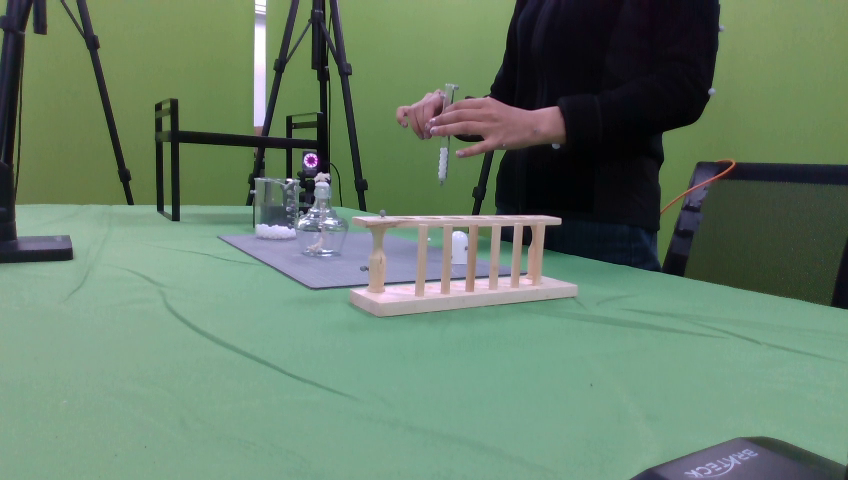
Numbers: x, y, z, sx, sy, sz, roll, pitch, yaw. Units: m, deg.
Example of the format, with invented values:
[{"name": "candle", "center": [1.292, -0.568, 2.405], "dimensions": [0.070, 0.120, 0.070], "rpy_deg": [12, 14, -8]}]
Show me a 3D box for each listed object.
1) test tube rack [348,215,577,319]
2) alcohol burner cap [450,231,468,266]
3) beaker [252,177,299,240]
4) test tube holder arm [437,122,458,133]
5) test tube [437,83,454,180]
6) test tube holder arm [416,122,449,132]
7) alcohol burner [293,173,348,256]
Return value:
[{"name": "test tube rack", "center": [0.048, 0.021, 0.619], "dimensions": [0.244, 0.085, 0.066], "rpy_deg": [-2, 9, -31]}, {"name": "alcohol burner cap", "center": [0.046, 0.011, 0.838], "dimensions": [0.034, 0.048, 0.034], "rpy_deg": [2, 6, 0]}, {"name": "beaker", "center": [-0.245, -0.052, 1.005], "dimensions": [0.074, 0.100, 0.083], "rpy_deg": [-3, 10, -32]}, {"name": "test tube holder arm", "center": [0.031, -0.180, 0.964], "dimensions": [0.010, 0.015, 0.087], "rpy_deg": [2, 11, -24]}, {"name": "test tube", "center": [0.033, -0.168, 0.943], "dimensions": [0.017, 0.150, 0.017], "rpy_deg": [4, 9, 0]}, {"name": "test tube holder arm", "center": [0.012, -0.188, 1.004], "dimensions": [0.013, 0.015, 0.178], "rpy_deg": [4, 10, -17]}, {"name": "alcohol burner", "center": [-0.146, -0.036, 0.859], "dimensions": [0.078, 0.119, 0.078], "rpy_deg": [4, 8, 0]}]
